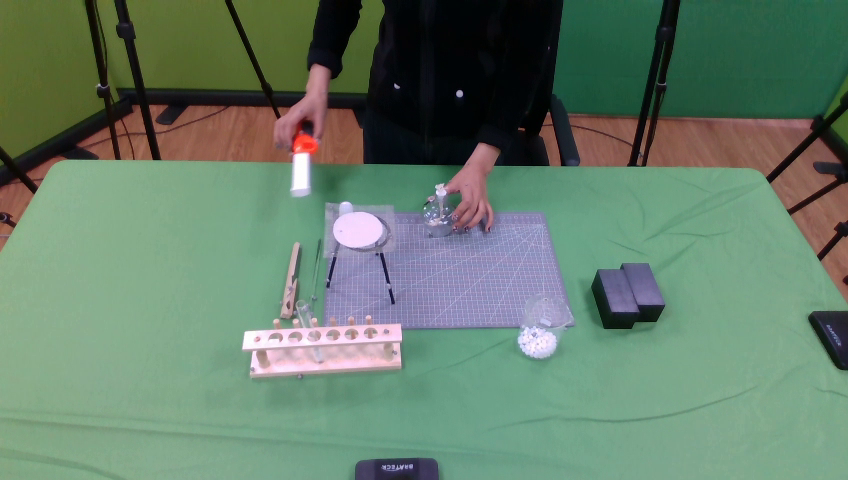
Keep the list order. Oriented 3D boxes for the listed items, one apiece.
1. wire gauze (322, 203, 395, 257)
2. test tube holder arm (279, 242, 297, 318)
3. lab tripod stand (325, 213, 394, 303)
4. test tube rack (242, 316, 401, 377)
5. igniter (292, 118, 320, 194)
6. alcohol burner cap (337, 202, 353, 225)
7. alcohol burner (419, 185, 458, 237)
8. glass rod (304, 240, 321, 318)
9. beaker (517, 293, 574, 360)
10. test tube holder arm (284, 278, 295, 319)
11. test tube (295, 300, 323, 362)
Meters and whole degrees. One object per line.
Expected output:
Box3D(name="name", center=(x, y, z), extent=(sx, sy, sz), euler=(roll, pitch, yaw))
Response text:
Box3D(name="wire gauze", center=(-0.111, -0.020, 1.035), extent=(0.121, 0.011, 0.124), euler=(0, 47, -7))
Box3D(name="test tube holder arm", center=(-0.248, 0.069, 1.114), extent=(0.013, 0.015, 0.177), euler=(25, 38, -27))
Box3D(name="lab tripod stand", center=(-0.104, 0.031, 1.080), extent=(0.148, 0.132, 0.147), euler=(4, 45, -4))
Box3D(name="test tube rack", center=(-0.161, 0.166, 0.983), extent=(0.242, 0.085, 0.066), euler=(-2, 46, -6))
Box3D(name="igniter", center=(-0.240, -0.177, 1.229), extent=(0.057, 0.025, 0.274), euler=(-7, 39, -5))
Box3D(name="alcohol burner cap", center=(-0.161, -0.056, 1.223), extent=(0.034, 0.048, 0.033), euler=(2, 46, -2))
Box3D(name="alcohol burner", center=(0.030, -0.063, 1.196), extent=(0.078, 0.119, 0.077), euler=(3, 48, -3))
Box3D(name="glass rod", center=(-0.207, 0.068, 1.128), extent=(0.008, 0.008, 0.198), euler=(2, 43, -2))
Box3D(name="beaker", center=(0.200, 0.149, 1.018), extent=(0.084, 0.101, 0.073), euler=(14, 47, 8))
Box3D(name="test tube holder arm", center=(-0.241, 0.103, 1.085), extent=(0.010, 0.015, 0.087), euler=(25, 38, -27))
Box3D(name="test tube", center=(-0.176, 0.143, 0.935), extent=(0.017, 0.151, 0.017), euler=(-2, 46, 2))
